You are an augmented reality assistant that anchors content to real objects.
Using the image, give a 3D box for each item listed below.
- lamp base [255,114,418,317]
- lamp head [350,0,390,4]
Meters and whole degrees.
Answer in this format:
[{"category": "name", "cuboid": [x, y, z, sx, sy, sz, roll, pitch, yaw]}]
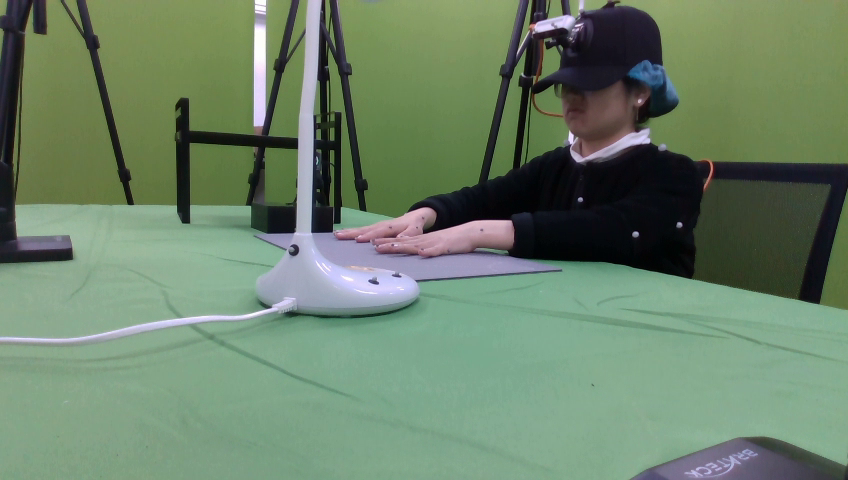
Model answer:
[{"category": "lamp base", "cuboid": [-0.086, -0.027, 0.577, 0.160, 0.180, 0.179, 4, 10, 16]}, {"category": "lamp head", "cuboid": [-0.053, -0.313, 0.597, 0.112, 0.112, 0.123, 6, -28, 25]}]
